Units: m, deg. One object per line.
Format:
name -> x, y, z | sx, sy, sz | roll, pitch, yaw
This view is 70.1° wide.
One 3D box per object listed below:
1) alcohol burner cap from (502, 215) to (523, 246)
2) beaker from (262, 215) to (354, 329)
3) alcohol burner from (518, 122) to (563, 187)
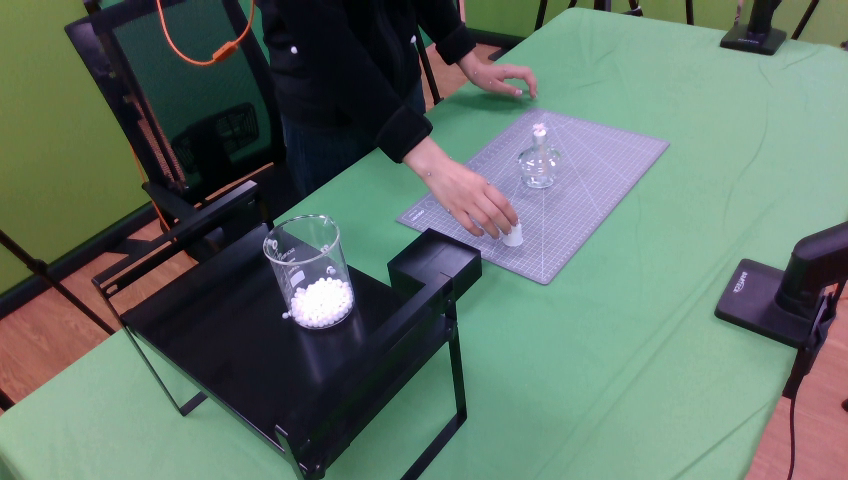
alcohol burner cap -> 0.140, -0.018, 0.955 | 0.034, 0.048, 0.033 | -2, 41, 2
beaker -> -0.112, 0.034, 0.616 | 0.073, 0.101, 0.084 | 13, 44, 23
alcohol burner -> 0.201, -0.151, 1.046 | 0.078, 0.119, 0.077 | -6, 42, 6
